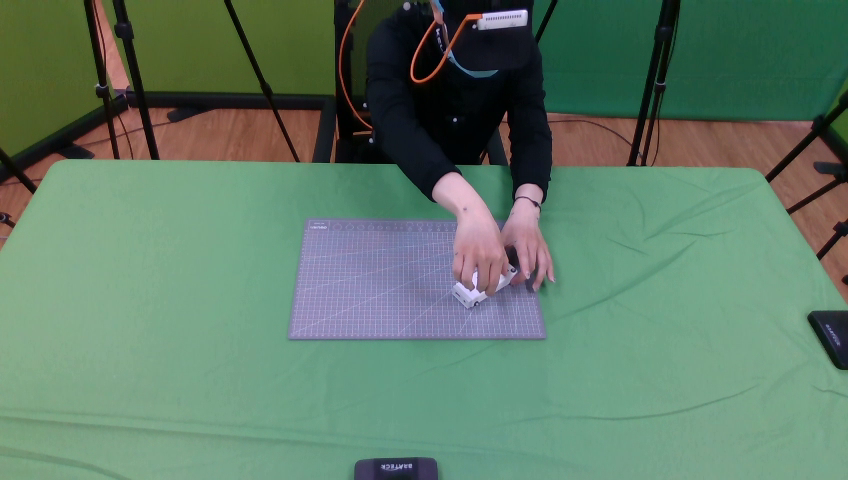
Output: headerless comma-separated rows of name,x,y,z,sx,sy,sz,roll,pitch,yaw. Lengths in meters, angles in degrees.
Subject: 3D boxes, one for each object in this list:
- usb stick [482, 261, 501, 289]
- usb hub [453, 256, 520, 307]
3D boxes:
usb stick,0.120,0.068,1.090,0.021,0.059,0.027,-30,57,-28
usb hub,0.117,0.076,1.121,0.125,0.025,0.049,-28,55,-26
